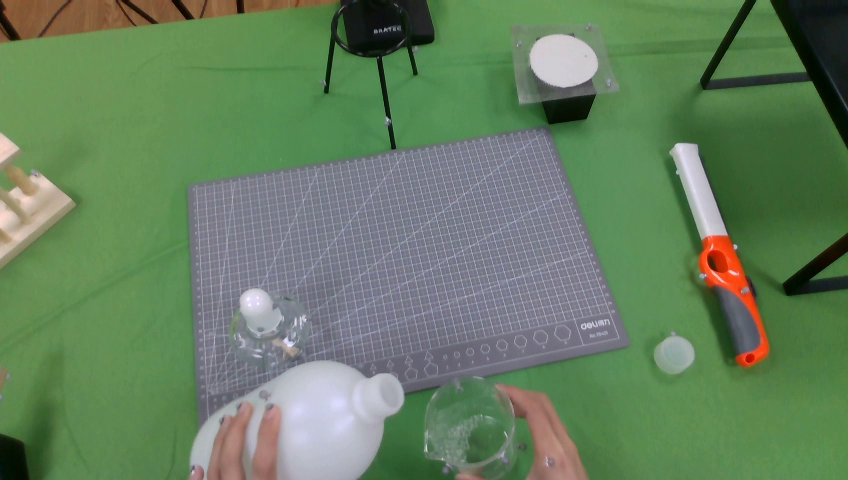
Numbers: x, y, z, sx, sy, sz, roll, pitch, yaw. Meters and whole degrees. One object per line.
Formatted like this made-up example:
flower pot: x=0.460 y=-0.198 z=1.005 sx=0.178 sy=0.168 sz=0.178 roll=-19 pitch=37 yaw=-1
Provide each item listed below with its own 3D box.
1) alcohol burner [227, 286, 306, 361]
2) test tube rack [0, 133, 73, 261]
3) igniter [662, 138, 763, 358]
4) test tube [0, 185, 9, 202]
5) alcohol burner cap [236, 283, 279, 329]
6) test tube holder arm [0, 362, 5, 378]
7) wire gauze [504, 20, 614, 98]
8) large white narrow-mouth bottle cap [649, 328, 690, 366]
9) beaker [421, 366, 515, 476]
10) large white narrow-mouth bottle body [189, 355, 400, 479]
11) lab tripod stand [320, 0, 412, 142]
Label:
alcohol burner: x=-0.156 y=0.075 z=0.590 sx=0.078 sy=0.120 sz=0.077 roll=1 pitch=61 yaw=-2
test tube rack: x=-0.510 y=0.002 z=0.637 sx=0.066 sy=0.086 sz=0.242 roll=35 pitch=68 yaw=15
igniter: x=0.326 y=0.000 z=0.690 sx=0.057 sy=0.025 sz=0.274 roll=0 pitch=63 yaw=-13
test tube: x=-0.481 y=-0.083 z=0.624 sx=0.017 sy=0.151 sz=0.017 roll=-1 pitch=62 yaw=2
alcohol burner cap: x=-0.155 y=0.059 z=0.558 sx=0.034 sy=0.048 sz=0.033 roll=-1 pitch=58 yaw=2
test tube holder arm: x=-0.407 y=0.193 z=0.529 sx=0.013 sy=0.015 sz=0.177 roll=0 pitch=63 yaw=6
wire gauze: x=0.166 y=-0.231 z=0.758 sx=0.121 sy=0.011 sz=0.124 roll=-3 pitch=63 yaw=-3
large white narrow-mouth bottle cap: x=0.258 y=0.113 z=0.637 sx=0.038 sy=0.024 sz=0.037 roll=1 pitch=63 yaw=-1
beaker: x=0.041 y=0.166 z=0.535 sx=0.084 sy=0.101 sz=0.073 roll=-35 pitch=59 yaw=-10
large white narrow-mouth bottle body: x=-0.096 y=0.149 z=0.485 sx=0.194 sy=0.103 sz=0.101 roll=-32 pitch=59 yaw=31
lab tripod stand: x=-0.062 y=-0.213 z=0.729 sx=0.148 sy=0.132 sz=0.147 roll=1 pitch=64 yaw=-3
